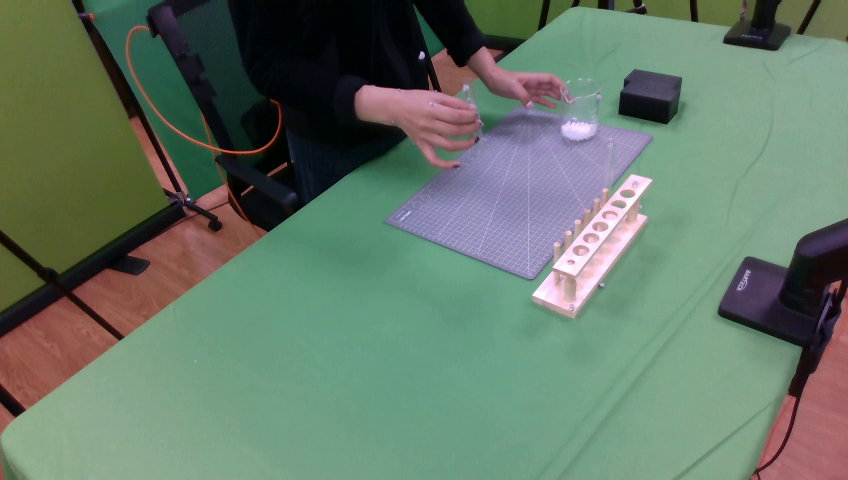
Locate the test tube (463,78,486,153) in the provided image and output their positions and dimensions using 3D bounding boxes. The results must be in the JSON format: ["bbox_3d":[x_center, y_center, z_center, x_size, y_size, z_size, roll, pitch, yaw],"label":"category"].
[{"bbox_3d":[0.077,-0.183,0.909,0.017,0.151,0.017,-6,57,10],"label":"test tube"}]

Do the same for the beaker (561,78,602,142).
[{"bbox_3d":[0.295,-0.243,1.150,0.073,0.101,0.084,22,50,32],"label":"beaker"}]

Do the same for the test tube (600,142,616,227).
[{"bbox_3d":[0.275,-0.081,0.908,0.017,0.151,0.017,-5,40,5],"label":"test tube"}]

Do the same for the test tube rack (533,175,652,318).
[{"bbox_3d":[0.251,-0.001,0.888,0.066,0.085,0.243,22,49,33],"label":"test tube rack"}]
